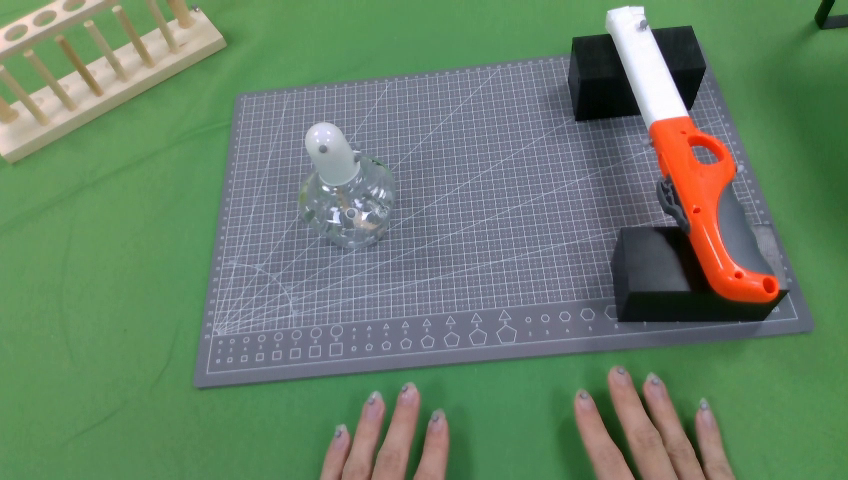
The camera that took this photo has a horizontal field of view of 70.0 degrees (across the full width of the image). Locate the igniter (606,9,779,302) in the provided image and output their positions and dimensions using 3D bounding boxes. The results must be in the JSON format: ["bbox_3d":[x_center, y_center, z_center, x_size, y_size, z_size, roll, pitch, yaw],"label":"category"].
[{"bbox_3d":[0.185,-0.076,0.444,0.057,0.025,0.273,-9,57,3],"label":"igniter"}]

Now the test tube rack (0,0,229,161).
[{"bbox_3d":[-0.329,-0.184,0.599,0.242,0.086,0.066,-33,61,-13],"label":"test tube rack"}]

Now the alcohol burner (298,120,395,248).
[{"bbox_3d":[-0.063,-0.046,0.463,0.078,0.120,0.077,-4,57,6],"label":"alcohol burner"}]

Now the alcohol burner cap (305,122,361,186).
[{"bbox_3d":[-0.067,-0.064,0.434,0.034,0.048,0.033,-5,61,9],"label":"alcohol burner cap"}]
